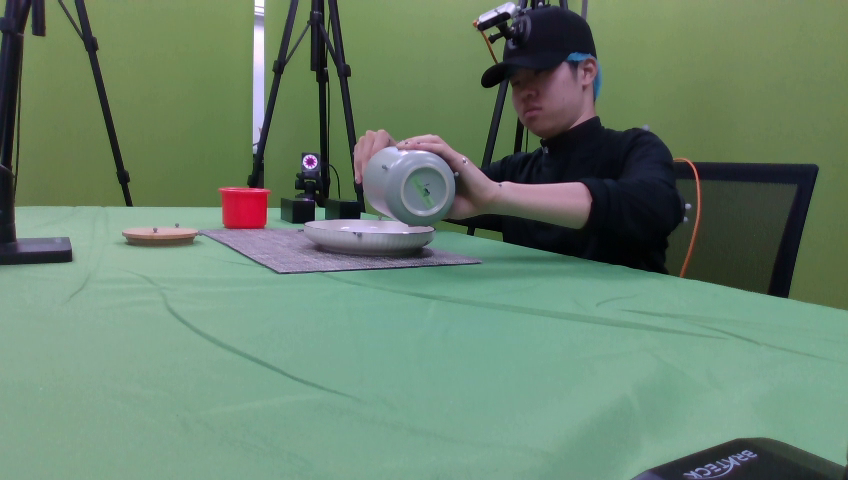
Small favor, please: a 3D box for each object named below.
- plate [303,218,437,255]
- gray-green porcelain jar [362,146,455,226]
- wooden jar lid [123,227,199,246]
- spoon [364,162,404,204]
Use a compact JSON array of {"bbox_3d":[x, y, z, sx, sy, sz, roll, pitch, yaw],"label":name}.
[{"bbox_3d":[-0.084,-0.005,0.952,0.208,0.039,0.207,3,7,0],"label":"plate"},{"bbox_3d":[-0.022,-0.078,0.858,0.106,0.106,0.126,0,11,-22],"label":"gray-green porcelain jar"},{"bbox_3d":[-0.408,-0.006,0.942,0.108,0.020,0.108,3,6,0],"label":"wooden jar lid"},{"bbox_3d":[-0.071,-0.094,0.951,0.042,0.021,0.193,19,12,-25],"label":"spoon"}]
